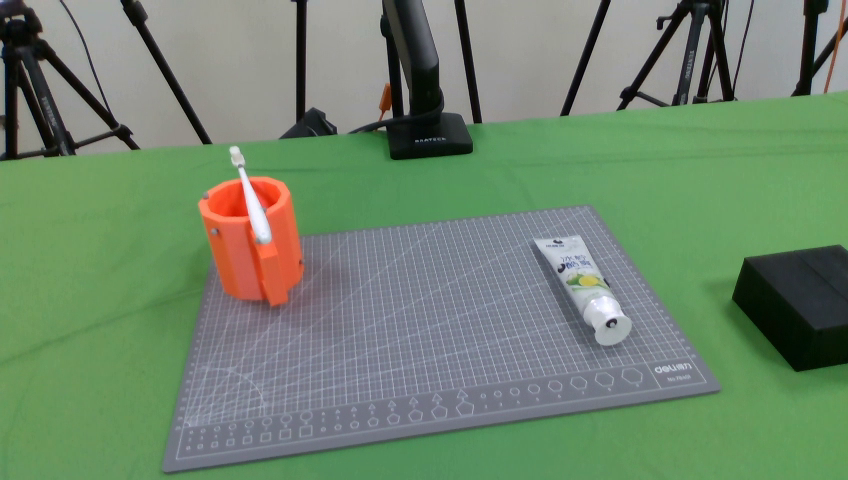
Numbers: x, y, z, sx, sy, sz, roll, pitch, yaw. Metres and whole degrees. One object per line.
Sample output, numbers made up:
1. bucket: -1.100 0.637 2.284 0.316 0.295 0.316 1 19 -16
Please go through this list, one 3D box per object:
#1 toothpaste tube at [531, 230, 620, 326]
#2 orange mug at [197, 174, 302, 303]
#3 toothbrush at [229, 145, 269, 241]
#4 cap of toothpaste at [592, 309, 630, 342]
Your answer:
1. toothpaste tube: 0.157 0.034 0.608 0.055 0.035 0.163 -1 31 -8
2. orange mug: -0.167 0.003 0.605 0.083 0.101 0.125 -18 34 -21
3. toothbrush: -0.172 -0.050 0.589 0.014 0.017 0.179 -12 37 -19
4. cap of toothpaste: 0.165 0.075 0.539 0.037 0.037 0.011 -11 37 -11
